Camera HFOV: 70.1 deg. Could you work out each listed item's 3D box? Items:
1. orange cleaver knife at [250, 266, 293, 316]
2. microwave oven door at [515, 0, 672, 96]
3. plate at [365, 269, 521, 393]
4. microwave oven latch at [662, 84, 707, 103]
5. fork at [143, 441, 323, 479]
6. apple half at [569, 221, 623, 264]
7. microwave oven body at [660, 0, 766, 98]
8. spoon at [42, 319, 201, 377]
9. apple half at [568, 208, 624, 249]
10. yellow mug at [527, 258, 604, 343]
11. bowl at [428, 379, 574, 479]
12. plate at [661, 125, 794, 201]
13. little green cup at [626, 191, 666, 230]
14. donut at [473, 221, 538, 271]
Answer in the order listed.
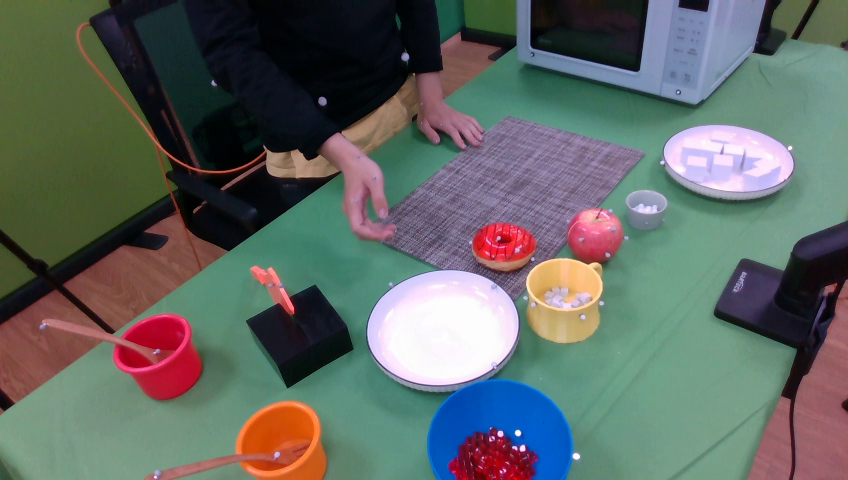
[{"bbox_3d":[-0.221,0.071,0.873,0.012,0.077,0.210,-25,11,-21],"label":"orange cleaver knife"},{"bbox_3d":[0.343,-0.454,1.259,0.353,0.245,0.039,26,51,33],"label":"microwave oven door"},{"bbox_3d":[0.027,0.123,0.813,0.209,0.038,0.208,-4,40,4],"label":"plate"},{"bbox_3d":[0.517,-0.296,1.204,0.078,0.029,0.030,27,52,35],"label":"microwave oven latch"},{"bbox_3d":[-0.189,0.231,0.631,0.028,0.018,0.209,36,13,37],"label":"fork"},{"bbox_3d":[0.251,0.010,0.884,0.081,0.081,0.032,3,37,12],"label":"apple half"},{"bbox_3d":[0.472,-0.513,1.317,0.438,0.261,0.327,26,51,34],"label":"microwave oven body"},{"bbox_3d":[-0.385,0.135,0.779,0.195,0.021,0.041,29,37,-26],"label":"spoon"},{"bbox_3d":[0.259,-0.014,0.914,0.080,0.075,0.053,0,36,15],"label":"apple half"},{"bbox_3d":[0.201,0.073,0.825,0.131,0.064,0.099,-32,46,-27],"label":"yellow mug"},{"bbox_3d":[0.082,0.233,0.644,0.151,0.077,0.150,-4,40,4],"label":"bowl"},{"bbox_3d":[0.513,-0.128,1.035,0.207,0.039,0.206,-4,40,4],"label":"plate"},{"bbox_3d":[0.352,-0.046,0.963,0.061,0.039,0.061,-4,40,4],"label":"little green cup"},{"bbox_3d":[0.124,0.008,0.923,0.099,0.048,0.098,-4,38,3],"label":"donut"}]
